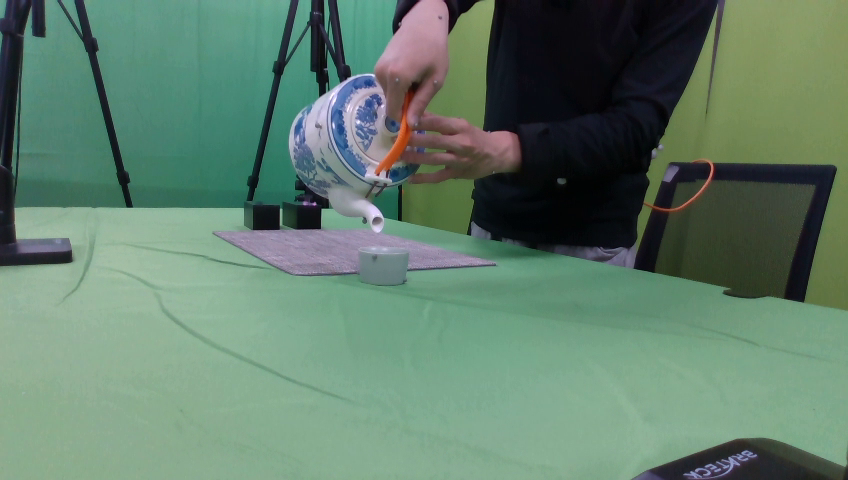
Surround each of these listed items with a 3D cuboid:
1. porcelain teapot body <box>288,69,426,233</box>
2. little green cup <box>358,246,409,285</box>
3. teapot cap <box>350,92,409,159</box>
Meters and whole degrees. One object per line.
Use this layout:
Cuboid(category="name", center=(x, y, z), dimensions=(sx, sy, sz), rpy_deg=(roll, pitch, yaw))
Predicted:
Cuboid(category="porcelain teapot body", center=(-0.072, -0.106, 0.769), dimensions=(0.146, 0.205, 0.224), rpy_deg=(7, -9, -34))
Cuboid(category="little green cup", center=(-0.048, 0.029, 0.707), dimensions=(0.061, 0.038, 0.061), rpy_deg=(2, 8, 0))
Cuboid(category="teapot cap", center=(-0.051, -0.140, 0.739), dimensions=(0.085, 0.085, 0.043), rpy_deg=(-3, 1, -35))
